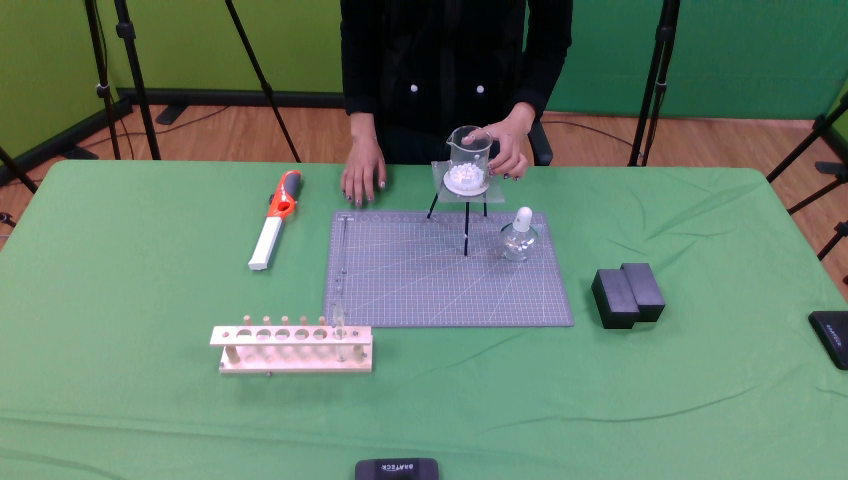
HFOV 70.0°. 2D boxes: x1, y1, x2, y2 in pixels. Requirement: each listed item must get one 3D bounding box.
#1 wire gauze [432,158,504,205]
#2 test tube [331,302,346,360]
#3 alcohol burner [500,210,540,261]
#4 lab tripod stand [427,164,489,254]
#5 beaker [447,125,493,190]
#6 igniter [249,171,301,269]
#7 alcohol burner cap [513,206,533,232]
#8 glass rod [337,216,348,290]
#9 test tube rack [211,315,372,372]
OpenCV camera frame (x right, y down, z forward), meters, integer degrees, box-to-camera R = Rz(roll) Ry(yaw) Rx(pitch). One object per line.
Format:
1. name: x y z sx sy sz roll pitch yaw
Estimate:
1. wire gauze: 0.081 -0.111 1.138 0.125 0.011 0.120 0 48 -7
2. test tube: -0.132 0.144 0.938 0.017 0.151 0.017 2 49 -3
3. alcohol burner: 0.185 -0.016 1.159 0.078 0.120 0.077 2 48 -2
4. lab tripod stand: 0.078 -0.068 1.188 0.148 0.132 0.147 3 47 -3
5. beaker: 0.079 -0.148 1.106 0.084 0.101 0.073 -3 47 -7
6. igniter: -0.297 -0.049 1.220 0.057 0.025 0.275 -1 45 9
7. alcohol burner cap: 0.186 -0.042 1.134 0.034 0.048 0.033 6 41 -5
8. glass rod: -0.158 0.021 1.171 0.008 0.008 0.198 1 44 -2
9. test tube rack: -0.208 0.163 0.982 0.242 0.085 0.066 1 46 -4
